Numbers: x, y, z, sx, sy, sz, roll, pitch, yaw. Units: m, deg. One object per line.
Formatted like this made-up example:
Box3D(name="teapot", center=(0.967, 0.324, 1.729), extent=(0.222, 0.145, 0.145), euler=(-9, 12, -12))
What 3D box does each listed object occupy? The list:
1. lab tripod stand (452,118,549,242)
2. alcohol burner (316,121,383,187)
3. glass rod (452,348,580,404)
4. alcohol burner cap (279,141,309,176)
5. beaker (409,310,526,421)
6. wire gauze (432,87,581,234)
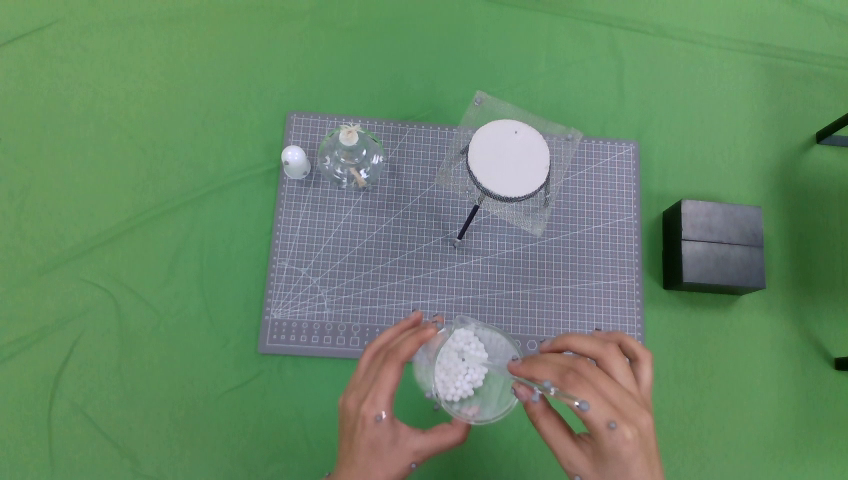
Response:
Box3D(name="lab tripod stand", center=(0.084, -0.071, 0.686), extent=(0.148, 0.132, 0.147), euler=(2, 75, -5))
Box3D(name="alcohol burner", center=(-0.085, -0.105, 0.690), extent=(0.078, 0.119, 0.077), euler=(2, 75, -6))
Box3D(name="glass rod", center=(0.058, 0.095, 0.445), extent=(0.008, 0.199, 0.008), euler=(0, 88, -19))
Box3D(name="alcohol burner cap", center=(-0.155, -0.099, 0.718), extent=(0.034, 0.048, 0.033), euler=(1, 75, -3))
Box3D(name="beaker", center=(0.028, 0.099, 0.497), extent=(0.074, 0.100, 0.084), euler=(-19, 86, -14))
Box3D(name="wire gauze", center=(0.086, -0.085, 0.621), extent=(0.125, 0.011, 0.121), euler=(26, 76, 1))
